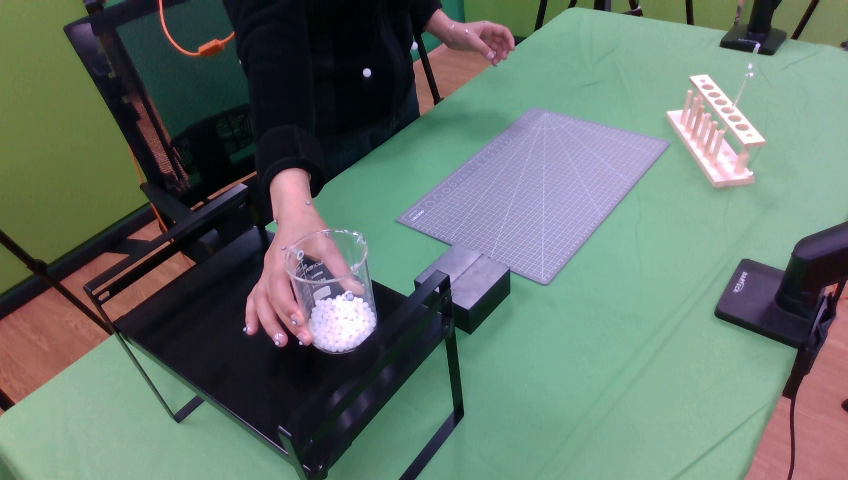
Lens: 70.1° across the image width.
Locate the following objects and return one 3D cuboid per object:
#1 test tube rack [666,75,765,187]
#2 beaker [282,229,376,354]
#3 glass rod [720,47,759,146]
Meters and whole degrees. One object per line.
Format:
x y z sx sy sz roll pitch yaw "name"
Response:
0.512 -0.201 1.082 0.067 0.085 0.241 -6 41 2 "test tube rack"
-0.082 0.050 0.566 0.073 0.100 0.084 26 48 31 "beaker"
0.527 -0.234 1.018 0.008 0.200 0.008 -2 49 3 "glass rod"
